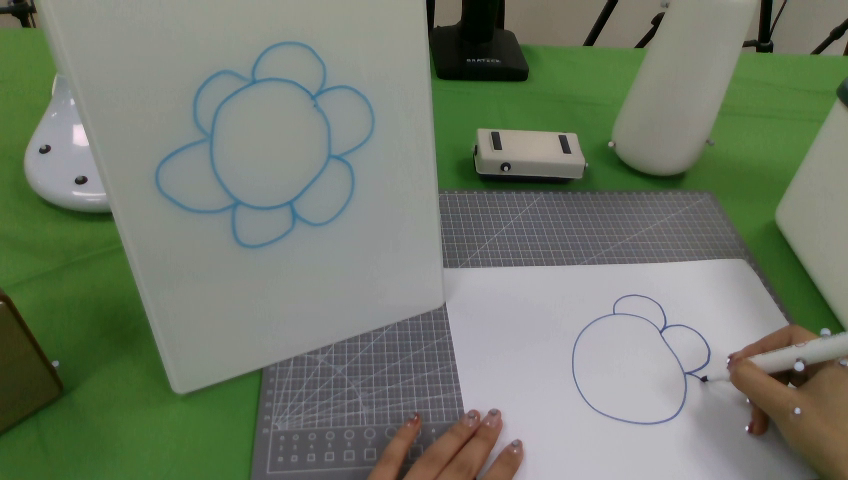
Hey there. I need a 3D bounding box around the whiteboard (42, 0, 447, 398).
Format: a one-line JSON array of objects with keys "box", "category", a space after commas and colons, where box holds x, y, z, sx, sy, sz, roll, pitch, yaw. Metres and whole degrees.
[{"box": [-0.117, -0.077, 0.451, 0.218, 0.308, 0.142, -16, 30, -20], "category": "whiteboard"}]

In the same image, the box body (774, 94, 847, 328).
[{"box": [0.489, 0.038, 0.474, 0.254, 0.162, 0.360, 0, 45, -6], "category": "box body"}]

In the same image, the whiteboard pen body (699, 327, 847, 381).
[{"box": [0.252, 0.082, 0.424, 0.017, 0.141, 0.017, 14, 60, -26], "category": "whiteboard pen body"}]

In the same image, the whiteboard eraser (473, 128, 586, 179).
[{"box": [0.109, -0.090, 0.639, 0.113, 0.042, 0.055, 1, 43, -5], "category": "whiteboard eraser"}]

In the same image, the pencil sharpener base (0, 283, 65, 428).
[{"box": [-0.293, 0.063, 0.388, 0.076, 0.108, 0.061, 34, 51, 25], "category": "pencil sharpener base"}]

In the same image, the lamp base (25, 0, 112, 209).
[{"box": [-0.302, -0.146, 0.543, 0.178, 0.182, 0.160, 29, 49, 23], "category": "lamp base"}]

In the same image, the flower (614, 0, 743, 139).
[{"box": [0.283, -0.212, 0.555, 0.044, 0.363, 0.038, -21, 69, -34], "category": "flower"}]

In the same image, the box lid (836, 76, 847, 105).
[{"box": [0.494, -0.013, 0.420, 0.264, 0.015, 0.367, 1, 45, -7], "category": "box lid"}]

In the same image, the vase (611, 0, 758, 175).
[{"box": [0.265, -0.164, 0.622, 0.098, 0.201, 0.097, 4, 45, -4], "category": "vase"}]
